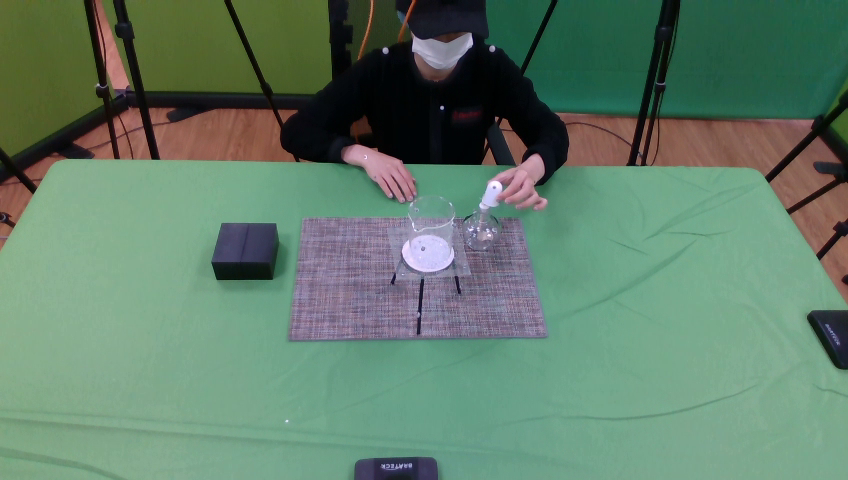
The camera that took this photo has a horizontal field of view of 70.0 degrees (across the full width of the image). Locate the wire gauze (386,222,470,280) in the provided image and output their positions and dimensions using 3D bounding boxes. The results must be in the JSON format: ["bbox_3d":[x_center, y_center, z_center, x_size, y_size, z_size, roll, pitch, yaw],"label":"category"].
[{"bbox_3d":[0.005,0.018,1.006,0.125,0.011,0.120,-7,45,-5],"label":"wire gauze"}]

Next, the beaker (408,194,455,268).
[{"bbox_3d":[0.009,-0.010,0.965,0.074,0.101,0.084,23,50,20],"label":"beaker"}]

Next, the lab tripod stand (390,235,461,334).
[{"bbox_3d":[-0.001,0.067,1.050,0.148,0.132,0.147,1,47,-1],"label":"lab tripod stand"}]

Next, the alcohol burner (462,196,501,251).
[{"bbox_3d":[0.112,-0.037,1.173,0.078,0.120,0.077,1,45,-1],"label":"alcohol burner"}]

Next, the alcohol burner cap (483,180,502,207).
[{"bbox_3d":[0.129,-0.088,1.113,0.034,0.048,0.033,6,35,-4],"label":"alcohol burner cap"}]
